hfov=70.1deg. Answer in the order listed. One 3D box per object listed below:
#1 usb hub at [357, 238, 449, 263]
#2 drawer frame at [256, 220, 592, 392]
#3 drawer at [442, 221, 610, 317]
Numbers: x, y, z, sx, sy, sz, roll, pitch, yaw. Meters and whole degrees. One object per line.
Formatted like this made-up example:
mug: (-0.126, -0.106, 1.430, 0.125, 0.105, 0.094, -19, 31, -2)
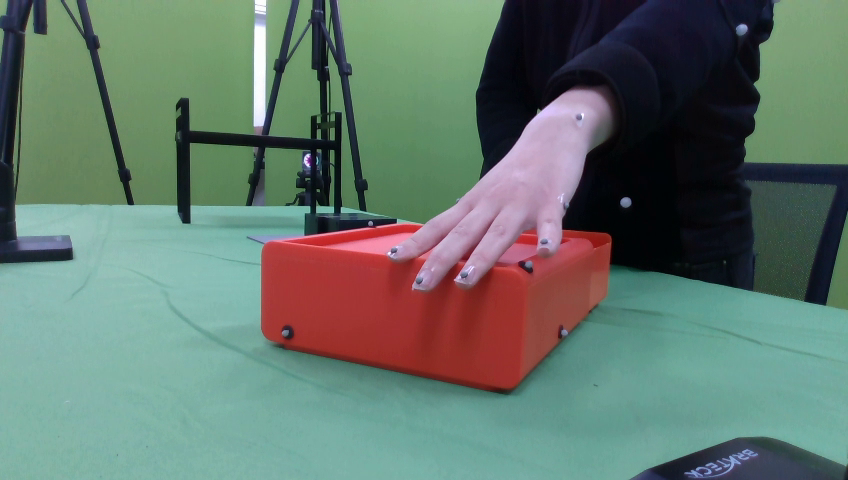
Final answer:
usb hub: (-0.028, 0.014, 0.855, 0.126, 0.025, 0.049, -2, 9, -34)
drawer frame: (0.014, 0.036, 0.490, 0.201, 0.082, 0.214, 6, 9, 25)
drawer: (0.056, 0.030, 0.575, 0.194, 0.073, 0.212, 6, 9, 27)
